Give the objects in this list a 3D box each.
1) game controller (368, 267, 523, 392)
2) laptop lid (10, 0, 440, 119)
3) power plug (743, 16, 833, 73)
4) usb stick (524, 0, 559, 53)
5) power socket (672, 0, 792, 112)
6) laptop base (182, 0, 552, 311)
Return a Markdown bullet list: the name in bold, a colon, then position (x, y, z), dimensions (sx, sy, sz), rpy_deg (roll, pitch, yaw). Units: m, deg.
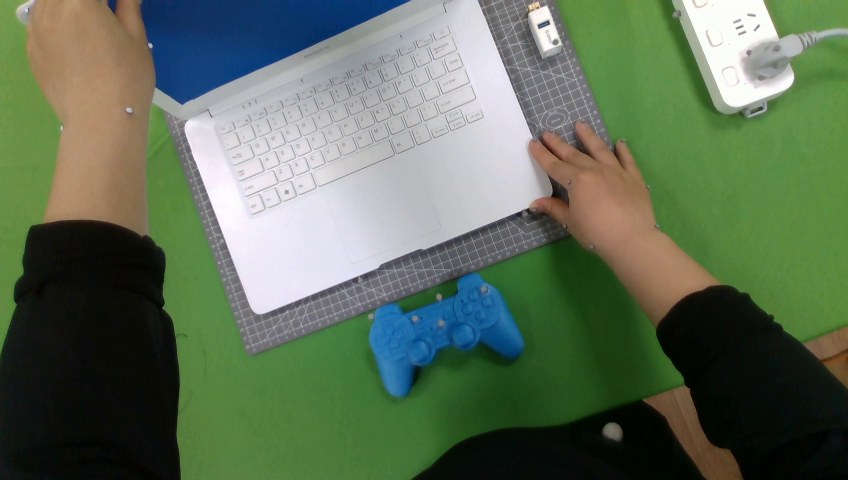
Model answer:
- **game controller**: position (0.017, 0.092, 0.627), dimensions (0.155, 0.052, 0.097), rpy_deg (-21, 81, 7)
- **laptop lid**: position (-0.136, -0.222, 0.550), dimensions (0.356, 0.243, 0.013), rpy_deg (-23, 77, 8)
- **power plug**: position (0.341, -0.180, 0.573), dimensions (0.072, 0.053, 0.035), rpy_deg (-9, 86, 3)
- **usb stick**: position (0.119, -0.226, 0.626), dimensions (0.021, 0.027, 0.059), rpy_deg (-22, 84, 9)
- **power socket**: position (0.290, -0.238, 0.601), dimensions (0.072, 0.032, 0.226), rpy_deg (-20, 86, 8)
- **laptop base**: position (-0.068, -0.092, 0.656), dimensions (0.354, 0.023, 0.235), rpy_deg (-22, 89, 7)
